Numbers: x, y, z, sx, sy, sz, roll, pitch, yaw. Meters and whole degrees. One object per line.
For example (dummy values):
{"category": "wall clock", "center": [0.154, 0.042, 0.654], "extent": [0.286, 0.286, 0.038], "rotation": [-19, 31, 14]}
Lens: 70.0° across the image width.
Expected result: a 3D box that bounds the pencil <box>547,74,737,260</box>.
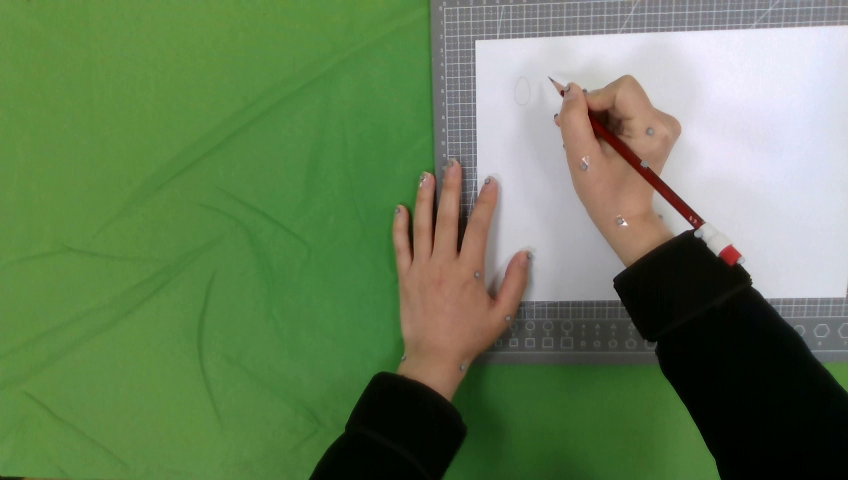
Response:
{"category": "pencil", "center": [0.138, -0.058, 0.410], "extent": [0.012, 0.012, 0.192], "rotation": [-40, 57, 11]}
